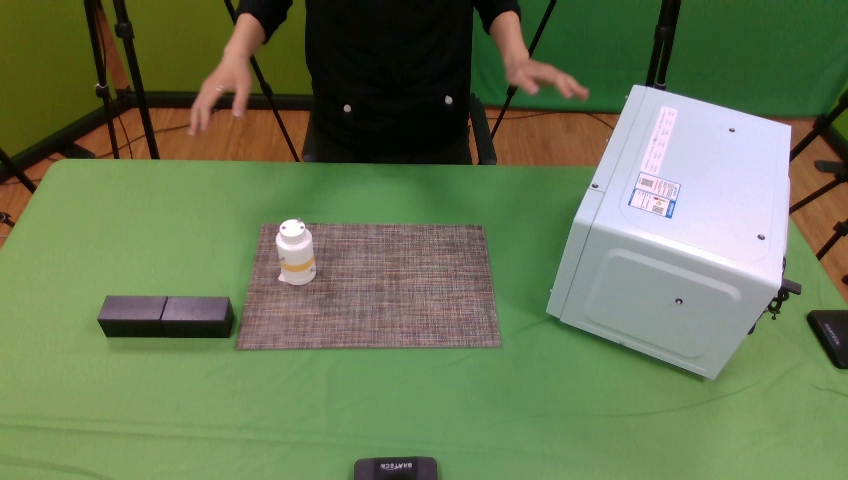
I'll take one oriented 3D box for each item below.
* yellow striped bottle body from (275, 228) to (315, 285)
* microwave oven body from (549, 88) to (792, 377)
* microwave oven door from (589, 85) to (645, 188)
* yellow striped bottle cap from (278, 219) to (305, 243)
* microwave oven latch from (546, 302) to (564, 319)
[{"bbox_3d":[-0.231,0.021,1.085,0.063,0.121,0.062,2,46,-2],"label":"yellow striped bottle body"},{"bbox_3d":[0.456,-0.028,1.088,0.325,0.261,0.440,20,47,16],"label":"microwave oven body"},{"bbox_3d":[0.341,-0.108,1.149,0.039,0.245,0.354,20,48,15],"label":"microwave oven door"},{"bbox_3d":[-0.229,-0.016,1.047,0.044,0.019,0.044,3,44,-3],"label":"yellow striped bottle cap"},{"bbox_3d":[0.242,0.102,1.081,0.030,0.029,0.079,21,48,17],"label":"microwave oven latch"}]
